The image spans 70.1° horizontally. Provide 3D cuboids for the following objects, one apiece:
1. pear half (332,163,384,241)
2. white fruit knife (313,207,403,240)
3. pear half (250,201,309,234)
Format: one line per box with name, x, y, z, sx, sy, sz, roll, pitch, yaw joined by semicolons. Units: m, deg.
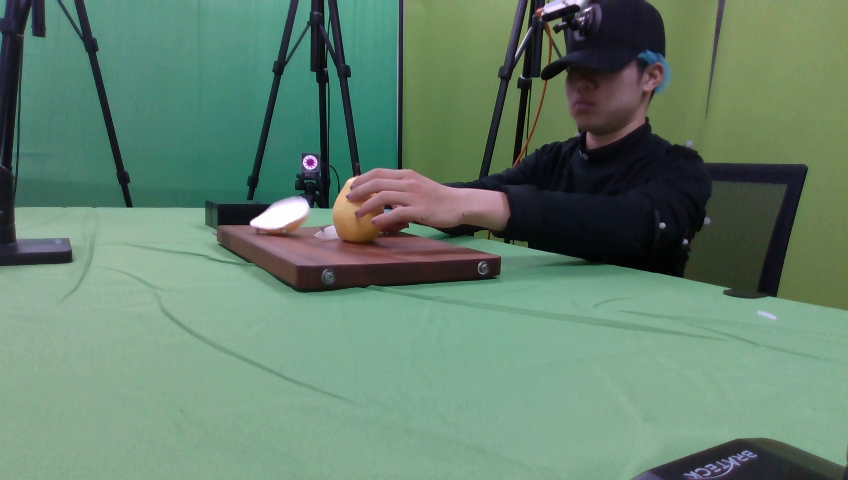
pear half;-0.085;-0.052;0.840;0.055;0.110;0.076;5;13;31
white fruit knife;-0.094;-0.025;0.904;0.016;0.027;0.208;0;11;33
pear half;-0.210;-0.028;0.892;0.088;0.031;0.070;-19;25;3
